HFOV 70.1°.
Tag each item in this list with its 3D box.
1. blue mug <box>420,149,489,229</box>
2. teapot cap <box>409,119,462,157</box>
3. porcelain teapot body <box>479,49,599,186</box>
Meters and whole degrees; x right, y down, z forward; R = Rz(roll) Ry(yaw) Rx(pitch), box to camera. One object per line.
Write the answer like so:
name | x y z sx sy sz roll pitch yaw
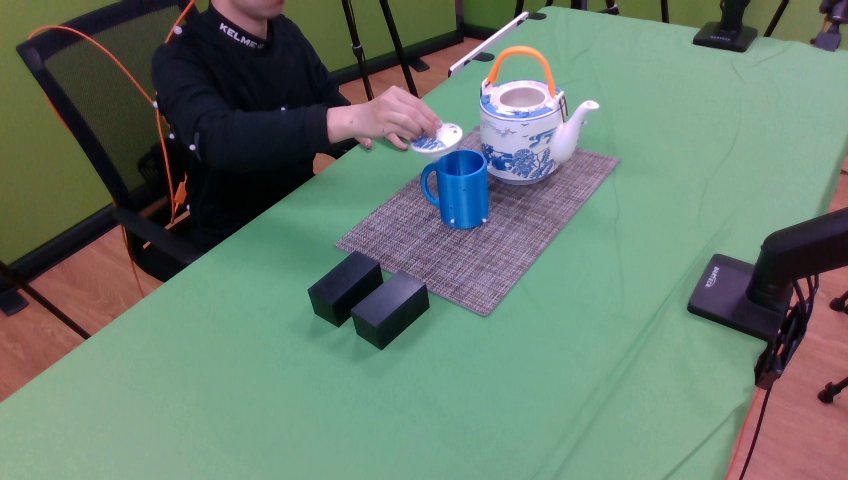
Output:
blue mug | 0.048 -0.086 0.991 0.116 0.106 0.082 9 43 19
teapot cap | 0.017 -0.161 0.922 0.085 0.044 0.085 -9 38 8
porcelain teapot body | 0.192 -0.208 1.023 0.204 0.226 0.145 17 46 25
